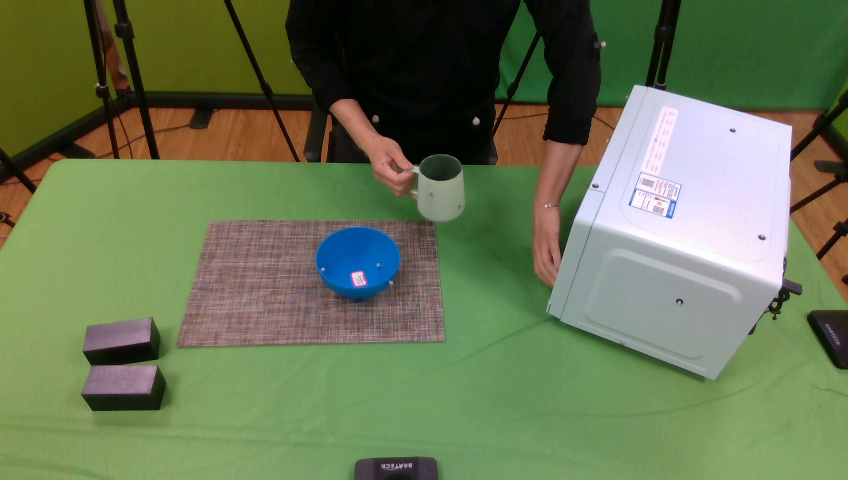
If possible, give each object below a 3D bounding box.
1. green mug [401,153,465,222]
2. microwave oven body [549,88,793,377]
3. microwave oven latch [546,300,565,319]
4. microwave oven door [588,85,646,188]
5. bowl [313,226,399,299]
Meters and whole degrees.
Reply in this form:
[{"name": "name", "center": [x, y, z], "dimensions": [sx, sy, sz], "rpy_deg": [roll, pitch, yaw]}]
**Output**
[{"name": "green mug", "center": [0.015, -0.099, 1.125], "dimensions": [0.125, 0.105, 0.092], "rpy_deg": [16, 49, 17]}, {"name": "microwave oven body", "center": [0.457, -0.028, 1.088], "dimensions": [0.325, 0.261, 0.440], "rpy_deg": [20, 47, 16]}, {"name": "microwave oven latch", "center": [0.244, 0.104, 1.079], "dimensions": [0.030, 0.029, 0.079], "rpy_deg": [26, 49, 21]}, {"name": "microwave oven door", "center": [0.342, -0.107, 1.149], "dimensions": [0.039, 0.245, 0.354], "rpy_deg": [21, 48, 15]}, {"name": "bowl", "center": [-0.120, 0.054, 1.091], "dimensions": [0.151, 0.077, 0.150], "rpy_deg": [2, 46, -2]}]
